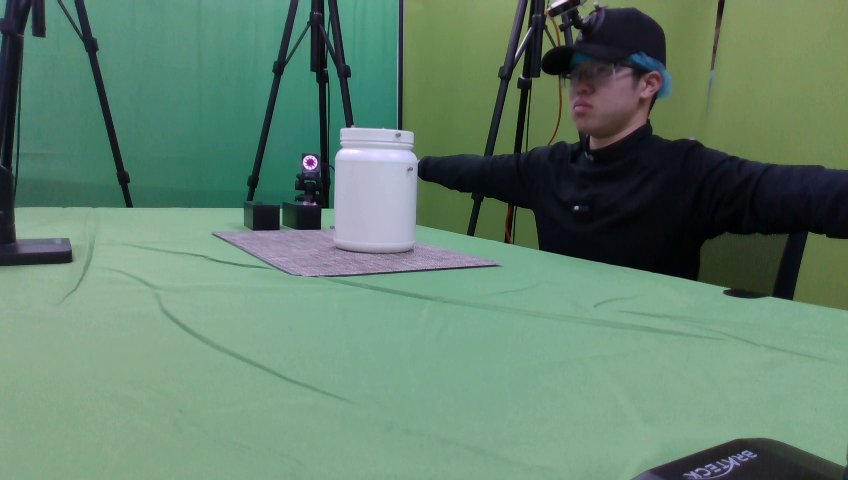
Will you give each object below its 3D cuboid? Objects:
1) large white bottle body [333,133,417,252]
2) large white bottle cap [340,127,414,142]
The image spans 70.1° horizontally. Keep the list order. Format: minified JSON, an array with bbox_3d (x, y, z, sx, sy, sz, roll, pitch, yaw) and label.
[{"bbox_3d":[-0.076,-0.080,0.950,0.131,0.184,0.130,2,7,0],"label":"large white bottle body"},{"bbox_3d":[-0.072,-0.163,0.940,0.115,0.018,0.115,2,7,0],"label":"large white bottle cap"}]
